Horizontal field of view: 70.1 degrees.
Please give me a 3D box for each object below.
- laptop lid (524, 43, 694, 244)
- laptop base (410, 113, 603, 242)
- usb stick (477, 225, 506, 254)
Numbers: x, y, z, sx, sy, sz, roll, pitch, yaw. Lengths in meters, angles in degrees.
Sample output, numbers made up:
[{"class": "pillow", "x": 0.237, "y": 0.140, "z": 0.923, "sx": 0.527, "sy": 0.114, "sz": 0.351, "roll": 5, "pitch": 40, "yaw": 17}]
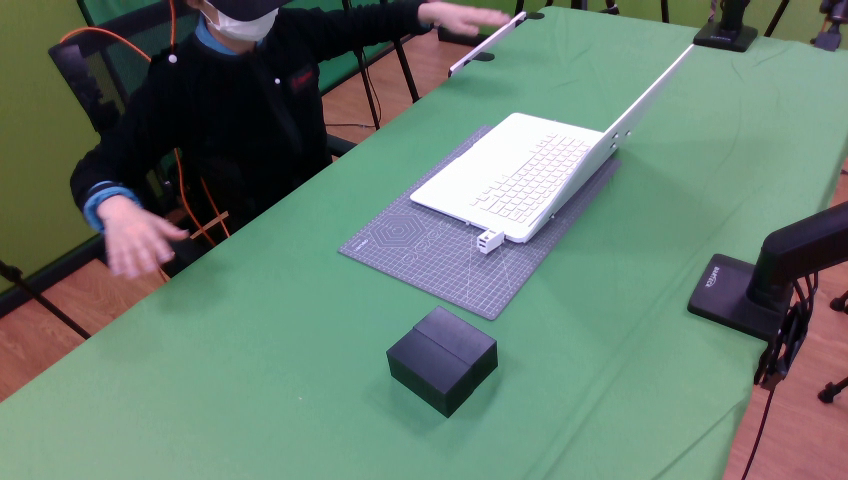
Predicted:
[{"class": "laptop lid", "x": 0.290, "y": -0.151, "z": 0.941, "sx": 0.013, "sy": 0.241, "sz": 0.358, "roll": 40, "pitch": 54, "yaw": 12}, {"class": "laptop base", "x": 0.171, "y": -0.127, "z": 1.096, "sx": 0.233, "sy": 0.023, "sz": 0.355, "roll": 21, "pitch": 47, "yaw": 34}, {"class": "usb stick", "x": 0.107, "y": -0.004, "z": 0.933, "sx": 0.021, "sy": 0.027, "sz": 0.059, "roll": 25, "pitch": 38, "yaw": 35}]
